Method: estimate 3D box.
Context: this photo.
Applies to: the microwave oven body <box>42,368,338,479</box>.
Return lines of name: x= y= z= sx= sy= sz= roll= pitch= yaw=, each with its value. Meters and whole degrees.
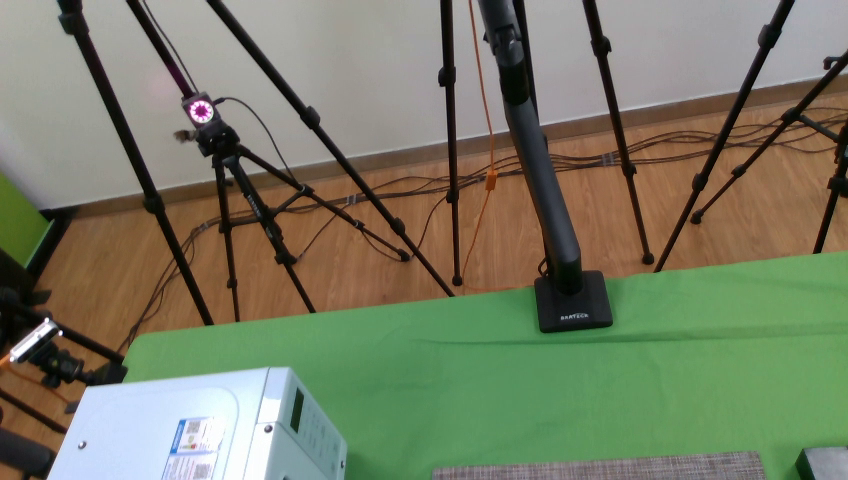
microwave oven body: x=-0.308 y=0.422 z=0.746 sx=0.325 sy=0.263 sz=0.437 roll=-8 pitch=48 yaw=10

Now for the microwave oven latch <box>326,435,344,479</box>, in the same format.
microwave oven latch: x=-0.139 y=0.335 z=0.909 sx=0.030 sy=0.030 sz=0.078 roll=-8 pitch=48 yaw=10

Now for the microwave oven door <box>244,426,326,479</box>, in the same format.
microwave oven door: x=-0.167 y=0.428 z=0.689 sx=0.039 sy=0.246 sz=0.352 roll=-9 pitch=47 yaw=10
